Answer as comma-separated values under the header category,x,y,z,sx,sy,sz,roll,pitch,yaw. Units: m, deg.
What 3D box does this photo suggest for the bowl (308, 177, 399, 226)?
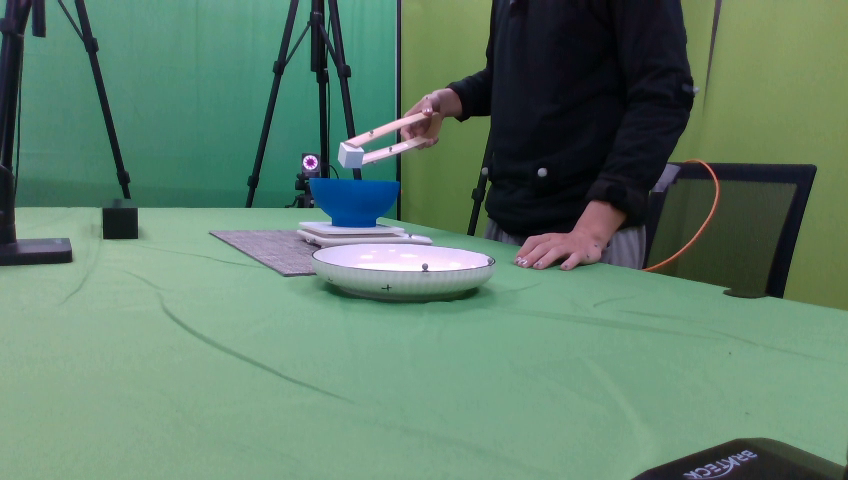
category,x,y,z,sx,sy,sz,roll,pitch,yaw
bowl,-0.117,-0.064,1.001,0.151,0.077,0.151,2,6,0

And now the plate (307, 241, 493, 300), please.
category,x,y,z,sx,sy,sz,roll,pitch,yaw
plate,-0.027,0.034,0.684,0.208,0.039,0.207,2,7,0

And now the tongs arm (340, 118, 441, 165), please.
category,x,y,z,sx,sy,sz,roll,pitch,yaw
tongs arm,-0.051,-0.194,1.152,0.026,0.050,0.386,22,21,16

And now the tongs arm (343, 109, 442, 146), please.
category,x,y,z,sx,sy,sz,roll,pitch,yaw
tongs arm,-0.046,-0.214,1.142,0.027,0.028,0.388,18,25,17

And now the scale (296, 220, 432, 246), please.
category,x,y,z,sx,sy,sz,roll,pitch,yaw
scale,-0.101,-0.012,1.017,0.202,0.031,0.148,-1,8,-30
